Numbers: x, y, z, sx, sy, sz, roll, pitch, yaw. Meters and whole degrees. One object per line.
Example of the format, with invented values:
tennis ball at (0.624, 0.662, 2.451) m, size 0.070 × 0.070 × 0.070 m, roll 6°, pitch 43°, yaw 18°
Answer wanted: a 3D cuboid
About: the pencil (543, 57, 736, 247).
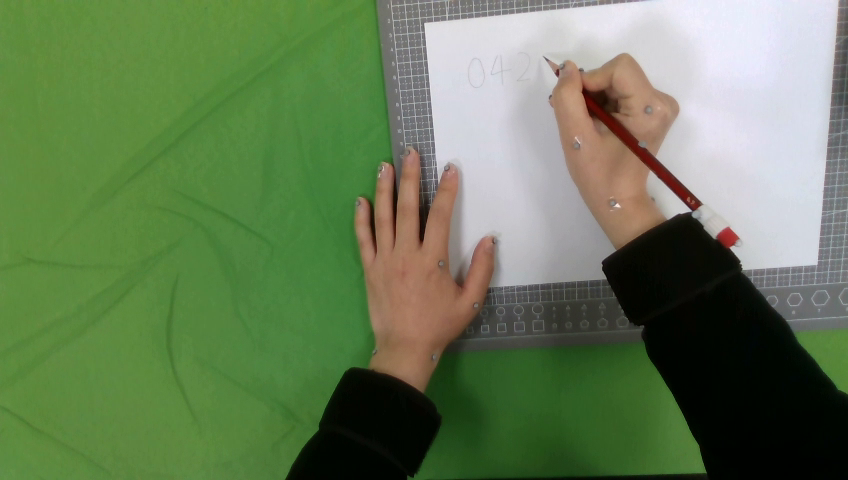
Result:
pencil at (0.133, -0.067, 0.400) m, size 0.012 × 0.012 × 0.192 m, roll -40°, pitch 58°, yaw 12°
